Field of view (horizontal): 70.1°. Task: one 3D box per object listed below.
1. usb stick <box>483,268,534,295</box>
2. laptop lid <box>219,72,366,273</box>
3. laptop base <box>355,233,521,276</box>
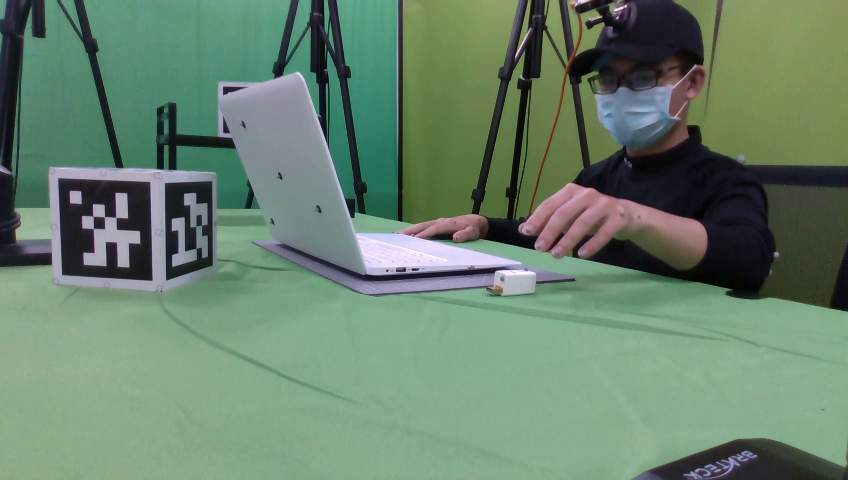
[{"bbox_3d":[0.093,0.046,0.673,0.059,0.027,0.021,-4,13,-29],"label":"usb stick"},{"bbox_3d":[-0.189,-0.087,0.800,0.013,0.242,0.355,-26,21,-26],"label":"laptop lid"},{"bbox_3d":[-0.056,0.018,0.898,0.237,0.023,0.352,2,6,-32],"label":"laptop base"}]
